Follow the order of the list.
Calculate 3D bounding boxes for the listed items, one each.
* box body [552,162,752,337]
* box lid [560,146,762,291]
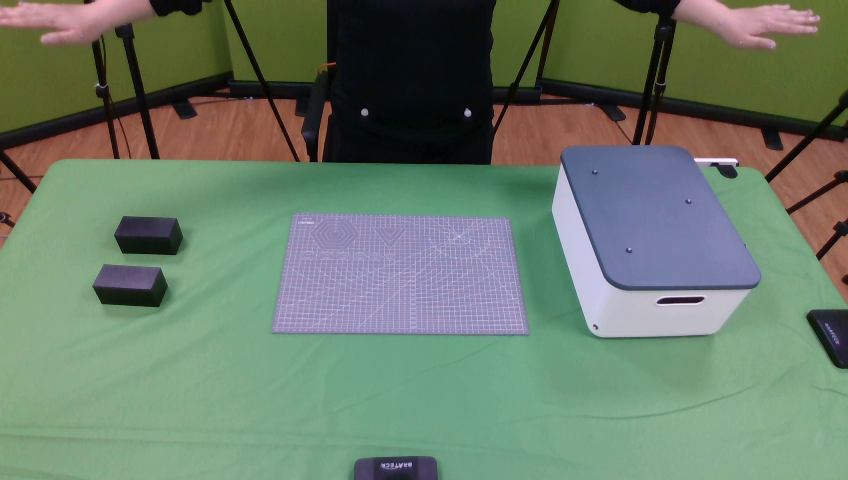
[{"bbox_3d":[0.401,-0.001,1.131,0.254,0.161,0.361,-1,46,-5],"label":"box body"},{"bbox_3d":[0.404,-0.052,1.076,0.263,0.015,0.369,-1,45,-5],"label":"box lid"}]
